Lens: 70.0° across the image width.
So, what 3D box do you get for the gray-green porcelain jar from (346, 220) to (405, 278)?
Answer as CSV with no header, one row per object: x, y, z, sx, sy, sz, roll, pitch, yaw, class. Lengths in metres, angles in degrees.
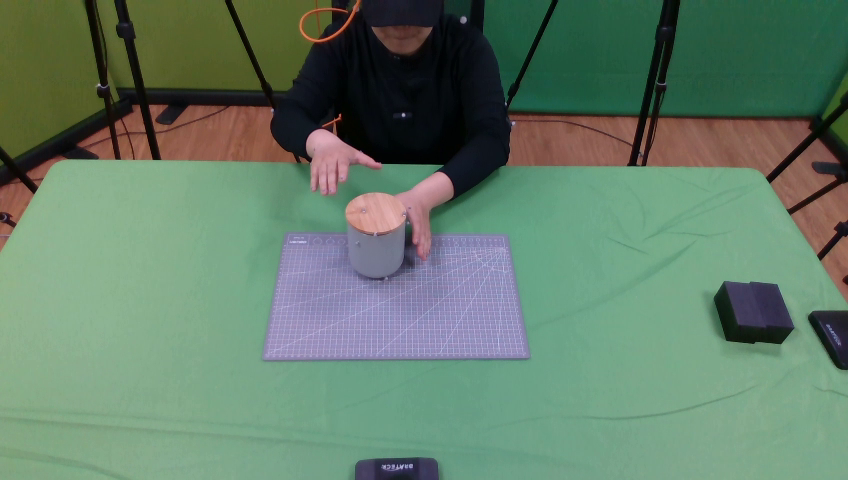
-0.089,0.000,1.116,0.106,0.127,0.105,2,46,-2,gray-green porcelain jar

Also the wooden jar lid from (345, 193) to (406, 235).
-0.086,-0.043,1.071,0.108,0.021,0.107,3,44,-3,wooden jar lid
